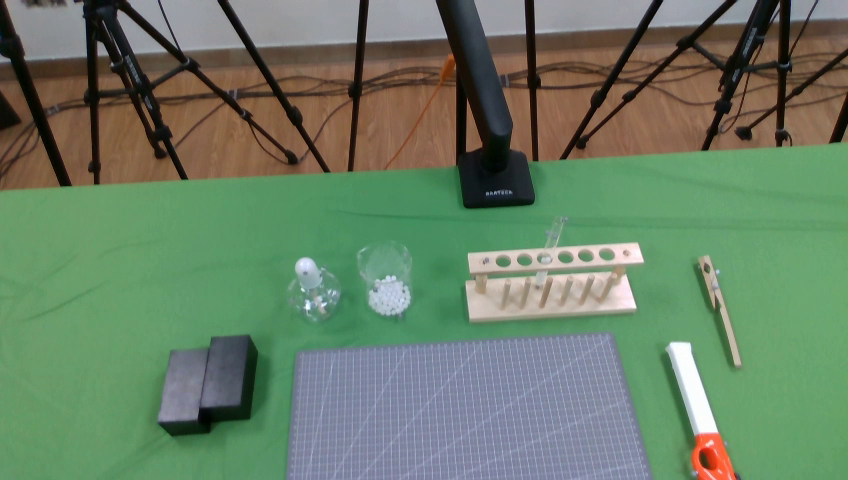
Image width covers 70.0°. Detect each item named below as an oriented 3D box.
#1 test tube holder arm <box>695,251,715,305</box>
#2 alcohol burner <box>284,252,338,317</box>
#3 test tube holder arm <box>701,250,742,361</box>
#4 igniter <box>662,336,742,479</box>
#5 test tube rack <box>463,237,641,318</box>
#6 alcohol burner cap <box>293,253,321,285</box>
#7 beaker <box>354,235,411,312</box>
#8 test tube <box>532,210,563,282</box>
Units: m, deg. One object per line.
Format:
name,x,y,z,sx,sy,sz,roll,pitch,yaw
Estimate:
test tube holder arm,0.423,0.056,0.907,0.010,0.015,0.087,-22,50,27
alcohol burner,-0.162,0.058,0.853,0.078,0.120,0.077,-1,52,1
test tube holder arm,0.429,0.091,0.879,0.013,0.015,0.176,-24,50,26
igniter,0.354,0.248,0.763,0.057,0.025,0.273,3,54,-9
test tube rack,0.181,0.055,0.869,0.242,0.086,0.066,-4,54,-2
alcohol burner cap,-0.161,0.036,0.824,0.034,0.048,0.033,-1,60,3
beaker,-0.058,0.051,0.866,0.083,0.101,0.073,20,57,16
test tube,0.169,0.012,0.839,0.017,0.151,0.017,1,52,-2
